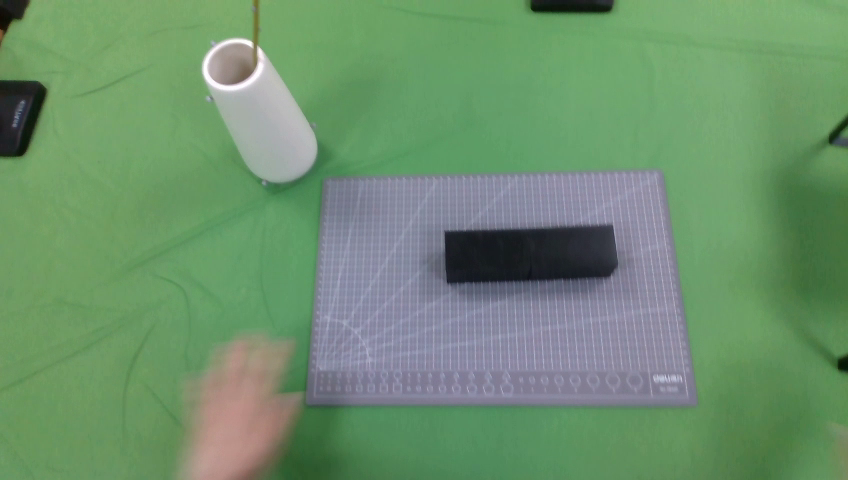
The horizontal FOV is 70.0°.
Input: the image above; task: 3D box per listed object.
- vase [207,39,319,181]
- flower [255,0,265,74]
[{"bbox_3d":[-0.194,-0.154,0.744,0.098,0.201,0.097,-1,67,3],"label":"vase"},{"bbox_3d":[-0.182,-0.188,0.668,0.038,0.363,0.044,19,63,-8],"label":"flower"}]
